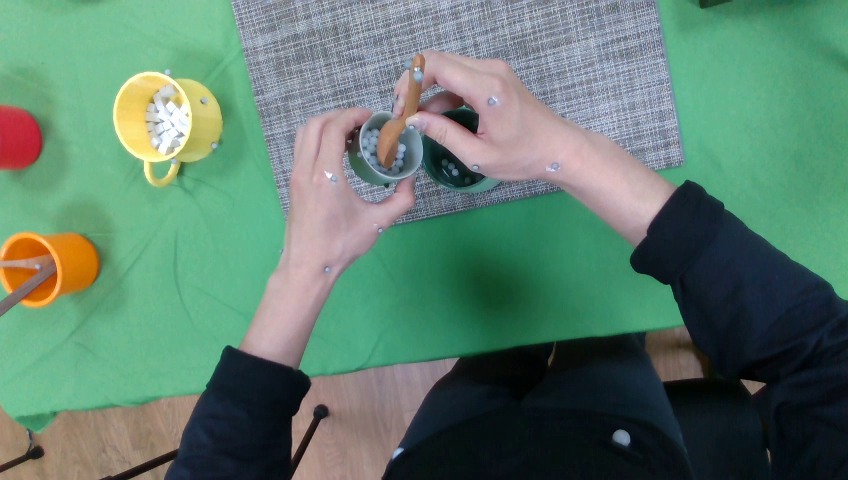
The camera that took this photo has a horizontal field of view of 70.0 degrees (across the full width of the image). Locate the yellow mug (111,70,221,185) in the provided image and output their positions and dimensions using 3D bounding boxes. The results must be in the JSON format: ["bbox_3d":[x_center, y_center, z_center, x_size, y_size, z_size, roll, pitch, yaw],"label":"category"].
[{"bbox_3d":[-0.302,-0.128,0.709,0.100,0.064,0.131,14,102,9],"label":"yellow mug"}]

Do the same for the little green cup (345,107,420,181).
[{"bbox_3d":[-0.039,-0.082,0.536,0.062,0.038,0.061,6,78,-28],"label":"little green cup"}]

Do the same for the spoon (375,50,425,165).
[{"bbox_3d":[-0.017,-0.096,0.450,0.022,0.193,0.041,18,79,-10],"label":"spoon"}]

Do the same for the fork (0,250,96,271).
[{"bbox_3d":[-0.516,0.026,0.733,0.208,0.018,0.028,0,98,-32],"label":"fork"}]

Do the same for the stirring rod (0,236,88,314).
[{"bbox_3d":[-0.486,0.057,0.737,0.014,0.006,0.175,39,62,3],"label":"stirring rod"}]

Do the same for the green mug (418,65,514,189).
[{"bbox_3d":[0.044,-0.113,0.616,0.092,0.105,0.125,6,99,11],"label":"green mug"}]
